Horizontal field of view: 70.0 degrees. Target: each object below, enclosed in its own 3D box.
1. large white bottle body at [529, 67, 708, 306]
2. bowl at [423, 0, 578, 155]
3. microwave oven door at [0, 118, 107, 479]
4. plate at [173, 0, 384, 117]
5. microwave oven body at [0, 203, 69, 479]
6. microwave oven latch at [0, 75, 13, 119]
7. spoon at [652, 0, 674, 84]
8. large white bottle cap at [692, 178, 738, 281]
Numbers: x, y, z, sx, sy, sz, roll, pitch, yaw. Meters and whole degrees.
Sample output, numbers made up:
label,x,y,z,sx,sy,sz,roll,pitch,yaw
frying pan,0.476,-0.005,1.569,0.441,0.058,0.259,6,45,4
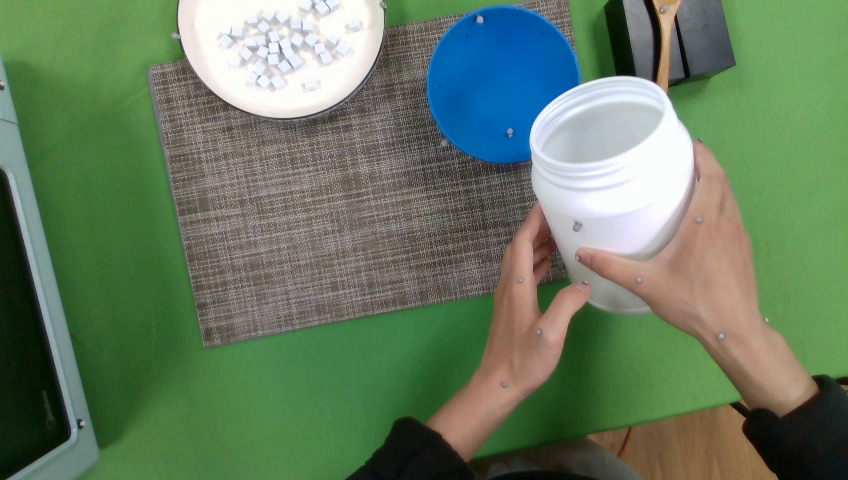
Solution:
label,x,y,z,sx,sy,sz,roll,pitch,yaw
large white bottle body,0.171,-0.044,0.533,0.130,0.129,0.186,-34,131,-1
bowl,0.072,-0.157,0.616,0.151,0.076,0.151,0,92,-3
microwave oven door,-0.380,0.059,0.503,0.039,0.243,0.356,-14,93,-2
plate,-0.145,-0.227,0.621,0.209,0.038,0.209,0,89,-3
microwave oven body,-0.532,0.051,0.499,0.326,0.259,0.442,-13,94,-3
microwave oven latch,-0.432,-0.157,0.592,0.030,0.029,0.079,-14,94,-3
spoon,0.238,-0.200,0.610,0.042,0.021,0.194,1,98,-6
large white bottle cap,0.288,-0.011,0.668,0.115,0.018,0.115,0,93,-4
